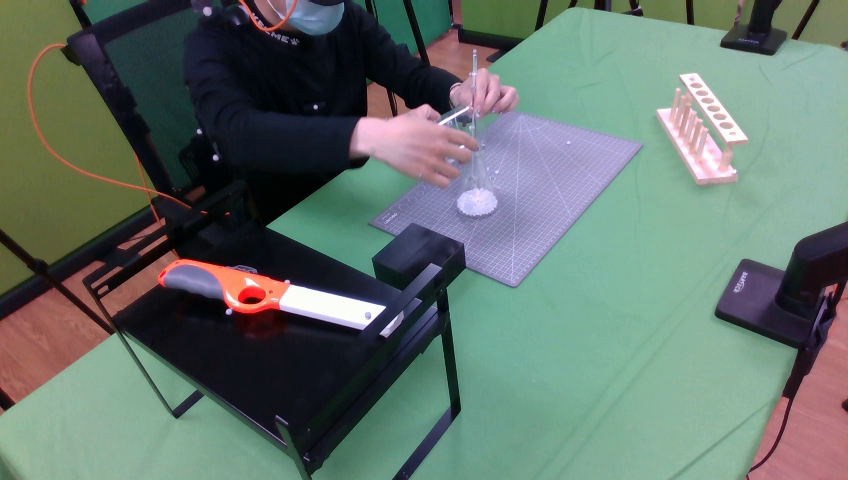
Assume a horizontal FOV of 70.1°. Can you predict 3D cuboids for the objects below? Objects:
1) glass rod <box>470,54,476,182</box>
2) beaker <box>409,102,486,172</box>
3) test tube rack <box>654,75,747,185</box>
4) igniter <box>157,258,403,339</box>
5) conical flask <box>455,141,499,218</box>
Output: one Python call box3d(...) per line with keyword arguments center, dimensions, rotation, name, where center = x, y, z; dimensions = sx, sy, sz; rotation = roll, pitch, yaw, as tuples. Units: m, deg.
box3d(center=(0.077, -0.192, 0.960), dimensions=(0.008, 0.200, 0.008), rotation=(0, 13, 0), name="glass rod")
box3d(center=(0.034, -0.153, 0.923), dimensions=(0.100, 0.084, 0.073), rotation=(-33, 35, -22), name="beaker")
box3d(center=(0.491, -0.205, 1.092), dimensions=(0.067, 0.085, 0.241), rotation=(-5, 40, 3), name="test tube rack")
box3d(center=(-0.157, 0.059, 0.638), dimensions=(0.275, 0.025, 0.057), rotation=(11, 43, 14), name="igniter")
box3d(center=(0.085, -0.103, 0.999), dimensions=(0.075, 0.122, 0.075), rotation=(-4, 40, 4), name="conical flask")
